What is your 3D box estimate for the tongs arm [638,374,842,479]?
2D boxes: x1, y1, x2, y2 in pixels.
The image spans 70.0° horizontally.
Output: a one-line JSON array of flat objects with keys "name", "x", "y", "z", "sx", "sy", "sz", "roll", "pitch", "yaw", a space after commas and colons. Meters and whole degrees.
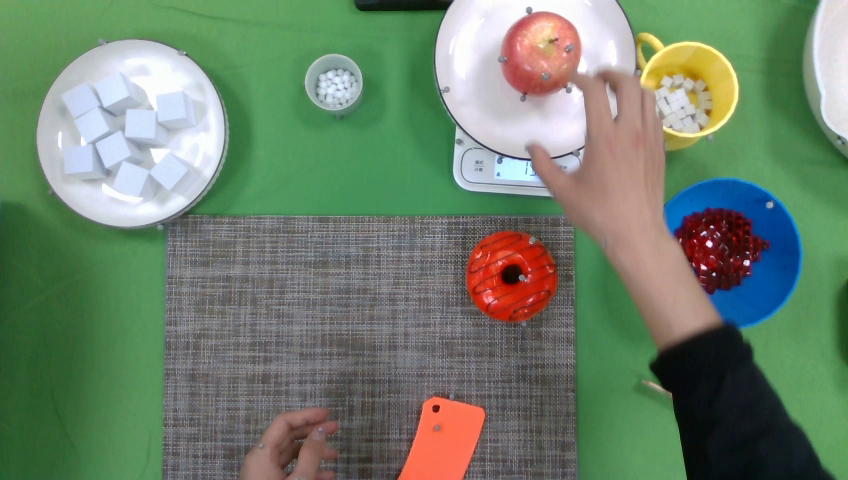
[{"name": "tongs arm", "x": 0.398, "y": 0.244, "z": 0.640, "sx": 0.387, "sy": 0.028, "sz": 0.028, "roll": 30, "pitch": 81, "yaw": 2}]

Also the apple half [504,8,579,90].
[{"name": "apple half", "x": 0.123, "y": -0.196, "z": 0.606, "sx": 0.053, "sy": 0.075, "sz": 0.080, "roll": -44, "pitch": 84, "yaw": -4}]

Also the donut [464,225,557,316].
[{"name": "donut", "x": 0.091, "y": 0.032, "z": 0.644, "sx": 0.099, "sy": 0.048, "sz": 0.099, "roll": 0, "pitch": 88, "yaw": 3}]

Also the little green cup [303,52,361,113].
[{"name": "little green cup", "x": -0.098, "y": -0.170, "z": 0.664, "sx": 0.061, "sy": 0.038, "sz": 0.061, "roll": 0, "pitch": 87, "yaw": 2}]

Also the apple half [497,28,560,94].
[{"name": "apple half", "x": 0.096, "y": -0.168, "z": 0.604, "sx": 0.033, "sy": 0.081, "sz": 0.081, "roll": -44, "pitch": 87, "yaw": -5}]

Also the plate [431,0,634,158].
[{"name": "plate", "x": 0.111, "y": -0.187, "z": 0.632, "sx": 0.209, "sy": 0.038, "sz": 0.209, "roll": 0, "pitch": 87, "yaw": 0}]

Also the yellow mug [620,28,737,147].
[{"name": "yellow mug", "x": 0.258, "y": -0.168, "z": 0.643, "sx": 0.100, "sy": 0.064, "sz": 0.130, "roll": -33, "pitch": 86, "yaw": 0}]

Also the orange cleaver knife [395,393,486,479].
[{"name": "orange cleaver knife", "x": -0.006, "y": 0.260, "z": 0.647, "sx": 0.077, "sy": 0.012, "sz": 0.211, "roll": 29, "pitch": 86, "yaw": -4}]

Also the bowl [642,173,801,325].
[{"name": "bowl", "x": 0.293, "y": 0.010, "z": 0.629, "sx": 0.151, "sy": 0.077, "sz": 0.151, "roll": 0, "pitch": 88, "yaw": 1}]

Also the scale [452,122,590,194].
[{"name": "scale", "x": 0.110, "y": -0.155, "z": 0.663, "sx": 0.148, "sy": 0.031, "sz": 0.200, "roll": 4, "pitch": 88, "yaw": 2}]

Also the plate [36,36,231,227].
[{"name": "plate", "x": -0.312, "y": -0.116, "z": 0.666, "sx": 0.208, "sy": 0.039, "sz": 0.207, "roll": 0, "pitch": 87, "yaw": 1}]

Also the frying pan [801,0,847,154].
[{"name": "frying pan", "x": 0.582, "y": -0.103, "z": 0.615, "sx": 0.307, "sy": 0.103, "sz": 0.485, "roll": -27, "pitch": 79, "yaw": 1}]
